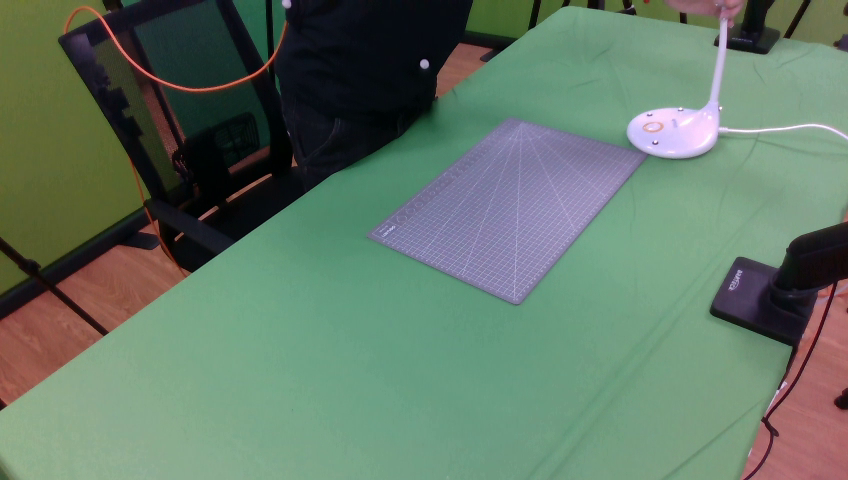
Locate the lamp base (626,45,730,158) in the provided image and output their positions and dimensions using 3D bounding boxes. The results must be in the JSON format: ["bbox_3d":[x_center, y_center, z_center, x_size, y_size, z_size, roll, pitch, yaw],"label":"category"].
[{"bbox_3d":[0.468,-0.262,1.086,0.179,0.181,0.159,-4,41,0],"label":"lamp base"}]
